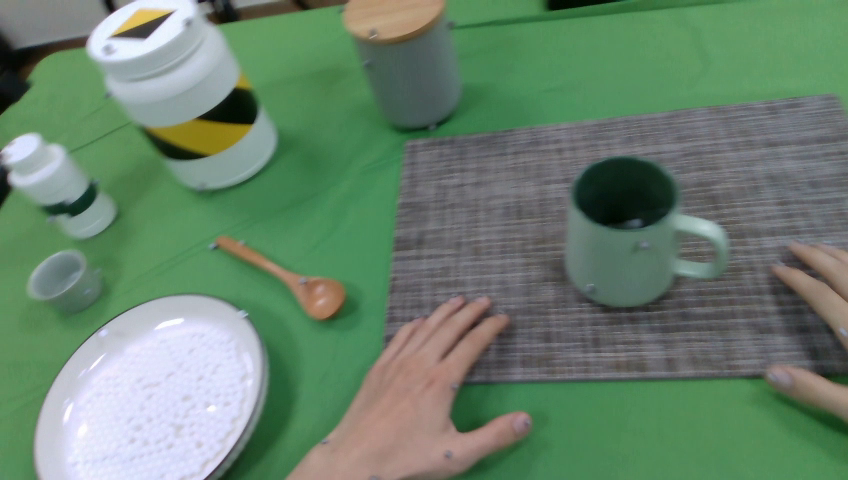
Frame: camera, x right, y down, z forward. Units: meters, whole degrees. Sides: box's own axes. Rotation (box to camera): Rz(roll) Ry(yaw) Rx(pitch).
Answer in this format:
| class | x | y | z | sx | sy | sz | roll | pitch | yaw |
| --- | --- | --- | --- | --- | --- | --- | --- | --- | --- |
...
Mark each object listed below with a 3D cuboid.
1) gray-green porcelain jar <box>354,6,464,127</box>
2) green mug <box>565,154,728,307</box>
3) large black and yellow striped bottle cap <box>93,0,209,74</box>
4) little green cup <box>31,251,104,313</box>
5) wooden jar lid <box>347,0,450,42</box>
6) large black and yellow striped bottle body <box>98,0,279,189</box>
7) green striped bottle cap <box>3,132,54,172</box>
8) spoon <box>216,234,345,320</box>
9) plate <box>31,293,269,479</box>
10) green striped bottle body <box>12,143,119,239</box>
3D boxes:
| class | x | y | z | sx | sy | sz | roll | pitch | yaw |
| --- | --- | --- | --- | --- | --- | --- | --- | --- | --- |
| gray-green porcelain jar | -0.012 | -0.200 | 0.678 | 0.106 | 0.128 | 0.105 | -7 | 52 | 9 |
| green mug | 0.177 | -0.002 | 0.488 | 0.124 | 0.106 | 0.092 | 15 | 58 | 24 |
| large black and yellow striped bottle cap | -0.273 | -0.209 | 0.606 | 0.115 | 0.019 | 0.114 | -7 | 51 | 9 |
| little green cup | -0.373 | 0.046 | 0.638 | 0.061 | 0.039 | 0.061 | -7 | 51 | 9 |
| wooden jar lid | -0.025 | -0.238 | 0.631 | 0.108 | 0.021 | 0.107 | -6 | 55 | 9 |
| large black and yellow striped bottle body | -0.255 | -0.161 | 0.672 | 0.130 | 0.186 | 0.129 | -7 | 52 | 9 |
| green striped bottle cap | -0.414 | -0.092 | 0.634 | 0.044 | 0.020 | 0.044 | -5 | 54 | 7 |
| spoon | -0.149 | 0.029 | 0.605 | 0.192 | 0.022 | 0.041 | 26 | 82 | 29 |
| plate | -0.231 | 0.143 | 0.529 | 0.209 | 0.038 | 0.207 | -7 | 52 | 9 |
| green striped bottle body | -0.403 | -0.060 | 0.674 | 0.063 | 0.120 | 0.062 | -7 | 52 | 10 |
